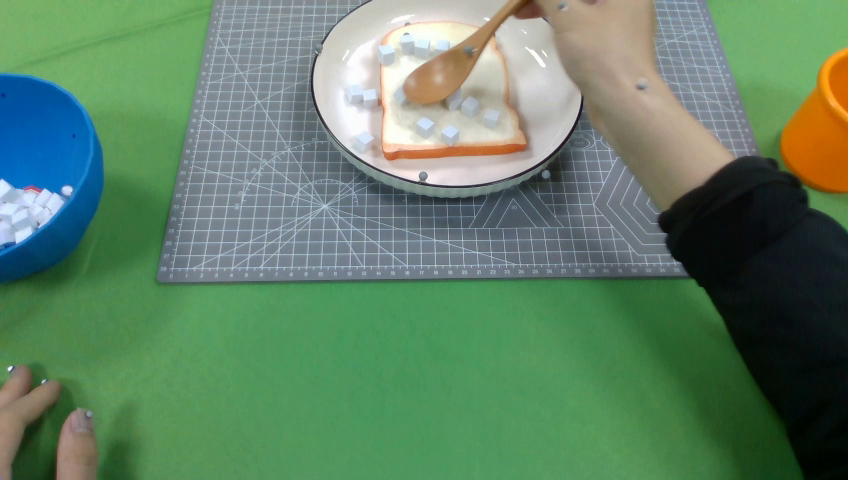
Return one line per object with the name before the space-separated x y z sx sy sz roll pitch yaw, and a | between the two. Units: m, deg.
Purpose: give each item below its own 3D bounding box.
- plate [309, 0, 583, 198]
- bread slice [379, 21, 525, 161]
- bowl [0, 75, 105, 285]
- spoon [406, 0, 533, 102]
plate | 0.016 -0.117 0.477 0.209 0.038 0.207 1 62 -1
bread slice | 0.013 -0.120 0.482 0.107 0.018 0.133 -7 63 -5
bowl | -0.277 -0.026 0.397 0.151 0.077 0.150 1 61 -1
spoon | 0.066 -0.162 0.426 0.194 0.022 0.041 -38 54 17
